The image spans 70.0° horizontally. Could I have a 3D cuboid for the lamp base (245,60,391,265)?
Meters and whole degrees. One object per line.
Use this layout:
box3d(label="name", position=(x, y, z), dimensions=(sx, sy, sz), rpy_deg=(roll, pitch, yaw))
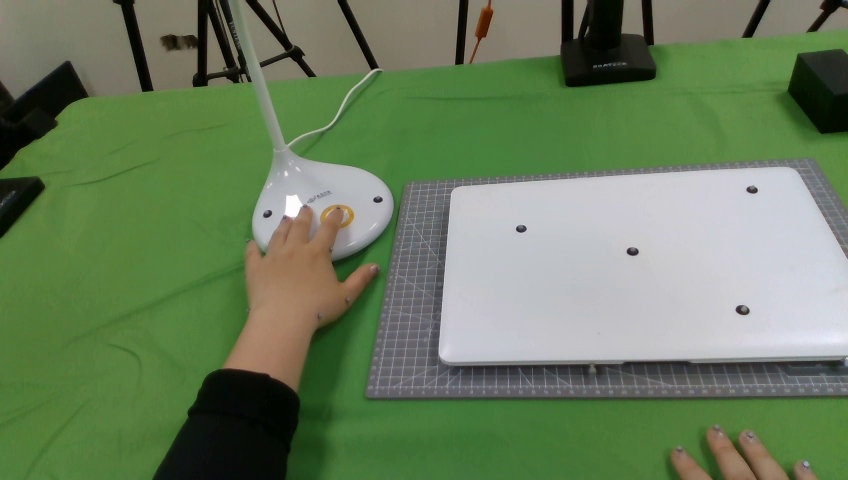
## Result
box3d(label="lamp base", position=(-0.135, -0.091, 0.639), dimensions=(0.177, 0.182, 0.160), rpy_deg=(28, 54, 38))

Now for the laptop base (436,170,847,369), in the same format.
box3d(label="laptop base", position=(0.193, 0.023, 0.568), dimensions=(0.354, 0.023, 0.233), rpy_deg=(-3, 46, 8))

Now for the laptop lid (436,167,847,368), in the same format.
box3d(label="laptop lid", position=(0.191, 0.016, 0.559), dimensions=(0.356, 0.013, 0.239), rpy_deg=(-2, 44, 10))
